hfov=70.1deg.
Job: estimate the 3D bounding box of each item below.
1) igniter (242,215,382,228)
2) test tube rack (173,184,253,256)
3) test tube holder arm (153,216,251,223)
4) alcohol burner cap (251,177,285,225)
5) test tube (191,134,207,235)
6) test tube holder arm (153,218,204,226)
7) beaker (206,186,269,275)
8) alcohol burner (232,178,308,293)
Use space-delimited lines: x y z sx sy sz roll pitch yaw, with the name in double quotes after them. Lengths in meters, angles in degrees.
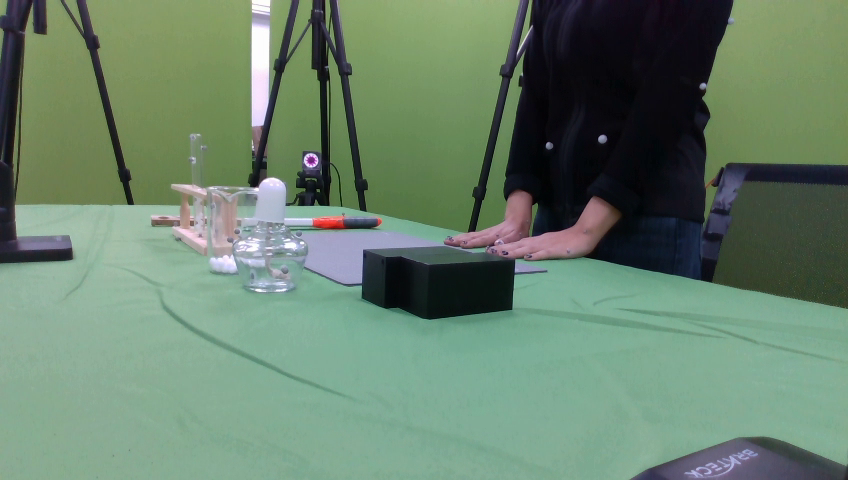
-0.212 -0.036 1.186 0.278 0.025 0.057 -2 -1 -31 "igniter"
-0.328 -0.036 0.927 0.067 0.085 0.241 -2 9 -32 "test tube rack"
-0.422 -0.039 1.159 0.179 0.015 0.013 -2 43 -31 "test tube holder arm"
-0.160 -0.041 0.628 0.034 0.048 0.034 9 7 -1 "alcohol burner cap"
-0.336 -0.083 0.903 0.017 0.150 0.017 -1 5 0 "test tube"
-0.459 -0.034 1.132 0.088 0.015 0.010 -1 43 -30 "test tube holder arm"
-0.220 -0.012 0.717 0.074 0.100 0.084 2 8 -3 "beaker"
-0.161 -0.006 0.632 0.078 0.119 0.078 1 8 0 "alcohol burner"
